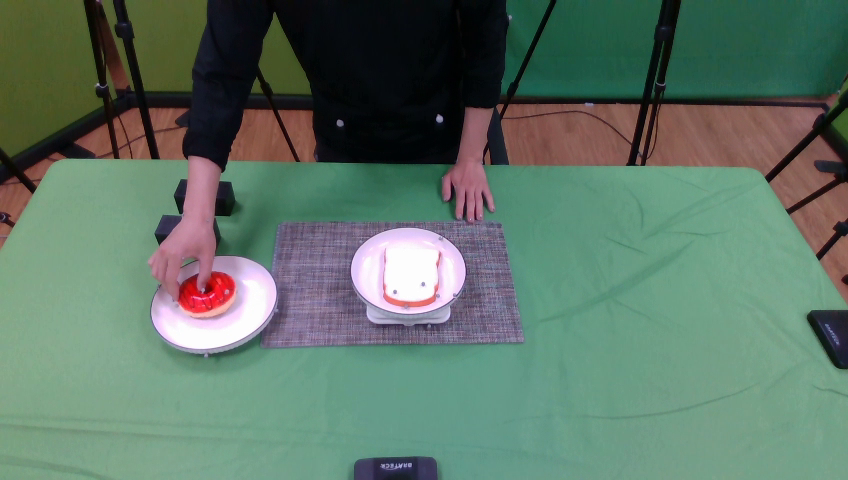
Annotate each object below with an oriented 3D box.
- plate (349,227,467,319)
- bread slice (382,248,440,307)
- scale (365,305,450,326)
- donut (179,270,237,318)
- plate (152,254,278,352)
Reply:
[{"bbox_3d":[-0.029,0.061,1.077,0.209,0.038,0.208,2,46,-2],"label":"plate"},{"bbox_3d":[-0.023,0.064,1.077,0.105,0.019,0.130,2,45,0],"label":"bread slice"},{"bbox_3d":[-0.032,0.071,1.113,0.149,0.032,0.199,0,46,-4],"label":"scale"},{"bbox_3d":[-0.374,0.092,1.053,0.099,0.048,0.098,1,42,0],"label":"donut"},{"bbox_3d":[-0.357,0.111,1.052,0.208,0.039,0.206,2,46,-2],"label":"plate"}]
